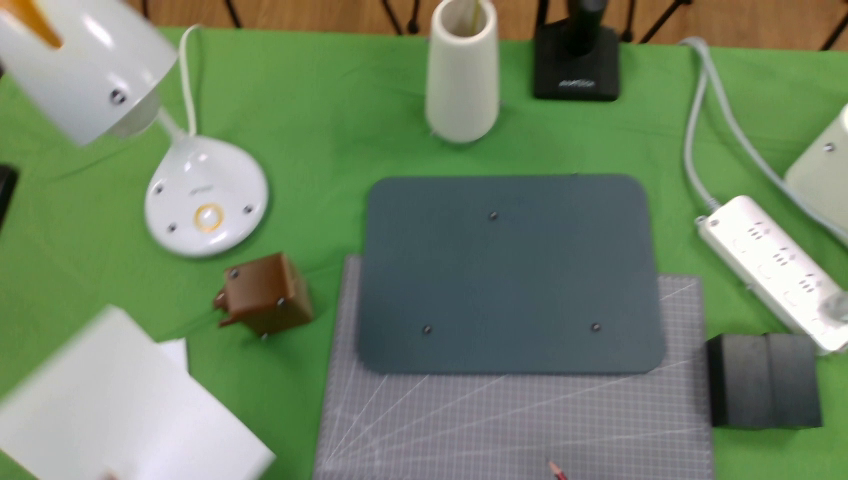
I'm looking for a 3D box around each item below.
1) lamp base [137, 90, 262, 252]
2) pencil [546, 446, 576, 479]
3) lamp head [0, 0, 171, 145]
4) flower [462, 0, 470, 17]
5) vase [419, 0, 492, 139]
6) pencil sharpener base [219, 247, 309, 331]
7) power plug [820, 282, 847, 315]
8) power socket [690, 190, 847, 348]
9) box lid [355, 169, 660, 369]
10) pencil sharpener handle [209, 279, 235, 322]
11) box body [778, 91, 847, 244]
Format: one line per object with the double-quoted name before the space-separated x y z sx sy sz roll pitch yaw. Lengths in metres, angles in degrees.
"lamp base" -0.305 -0.097 0.740 0.161 0.181 0.177 -26 68 -7
"pencil" 0.179 0.283 0.594 0.012 0.012 0.193 -36 84 -10
"lamp head" -0.279 -0.153 0.465 0.112 0.124 0.111 -29 33 21
"flower" 0.047 -0.253 0.685 0.044 0.364 0.038 -19 58 -21
"vase" 0.041 -0.211 0.759 0.098 0.201 0.097 0 68 1
"pencil sharpener base" -0.188 0.061 0.716 0.077 0.108 0.061 -17 70 -3
"power plug" 0.496 0.062 0.703 0.072 0.053 0.035 -24 68 -11
"power socket" 0.429 0.032 0.741 0.072 0.033 0.225 -35 72 -10
"box lid" 0.101 0.031 0.766 0.371 0.015 0.261 -1 70 2
"pencil sharpener handle" -0.237 0.074 0.700 0.030 0.068 0.035 -17 57 -3
"box body" 0.645 -0.058 0.696 0.254 0.161 0.361 -38 73 -11
